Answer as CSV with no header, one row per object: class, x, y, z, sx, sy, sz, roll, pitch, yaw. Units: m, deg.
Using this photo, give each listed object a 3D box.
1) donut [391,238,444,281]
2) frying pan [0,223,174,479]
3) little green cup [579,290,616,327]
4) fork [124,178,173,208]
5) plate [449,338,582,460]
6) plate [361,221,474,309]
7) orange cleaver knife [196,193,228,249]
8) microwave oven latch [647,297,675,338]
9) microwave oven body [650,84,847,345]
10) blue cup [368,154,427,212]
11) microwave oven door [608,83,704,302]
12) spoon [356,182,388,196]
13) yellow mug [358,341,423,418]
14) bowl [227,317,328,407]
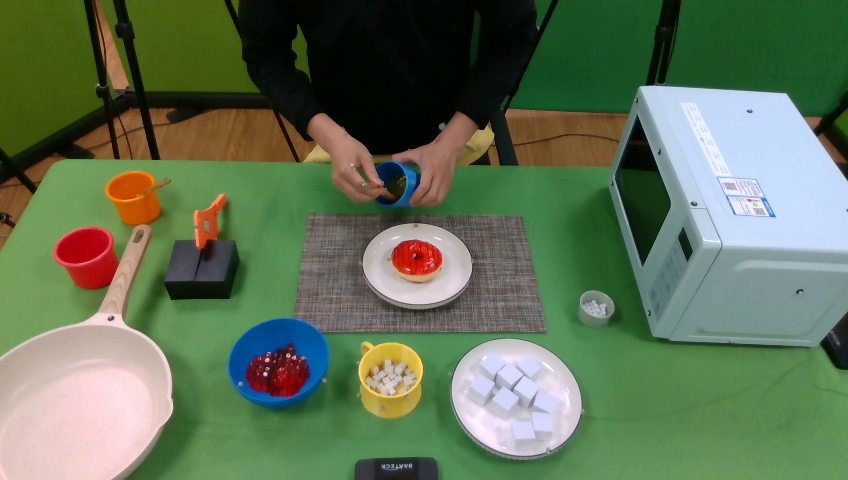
donut,-0.012,0.035,1.128,0.099,0.048,0.098,3,43,-3
frying pan,-0.505,0.169,0.941,0.307,0.103,0.485,5,54,-1
little green cup,0.308,0.124,1.086,0.061,0.039,0.061,1,45,-1
fork,-0.525,-0.089,1.153,0.207,0.019,0.028,-18,27,45
plate,0.141,0.251,0.955,0.208,0.039,0.206,2,46,-2
plate,-0.011,0.049,1.130,0.209,0.038,0.208,2,46,-2
orange cleaver knife,-0.406,-0.041,1.163,0.012,0.077,0.210,0,18,-3
microwave oven latch,0.413,0.133,1.060,0.030,0.029,0.078,5,46,2
microwave oven body,0.569,-0.054,1.115,0.326,0.261,0.439,2,46,-1
blue cup,-0.043,-0.096,1.131,0.092,0.101,0.092,-9,69,25
microwave oven door,0.424,-0.096,1.138,0.039,0.245,0.353,2,47,-1
spoon,-0.080,-0.090,1.057,0.041,0.194,0.021,21,93,16
yellow mug,-0.063,0.210,0.961,0.100,0.064,0.130,-29,54,-27
bowl,-0.222,0.203,0.947,0.151,0.077,0.150,2,46,-2
